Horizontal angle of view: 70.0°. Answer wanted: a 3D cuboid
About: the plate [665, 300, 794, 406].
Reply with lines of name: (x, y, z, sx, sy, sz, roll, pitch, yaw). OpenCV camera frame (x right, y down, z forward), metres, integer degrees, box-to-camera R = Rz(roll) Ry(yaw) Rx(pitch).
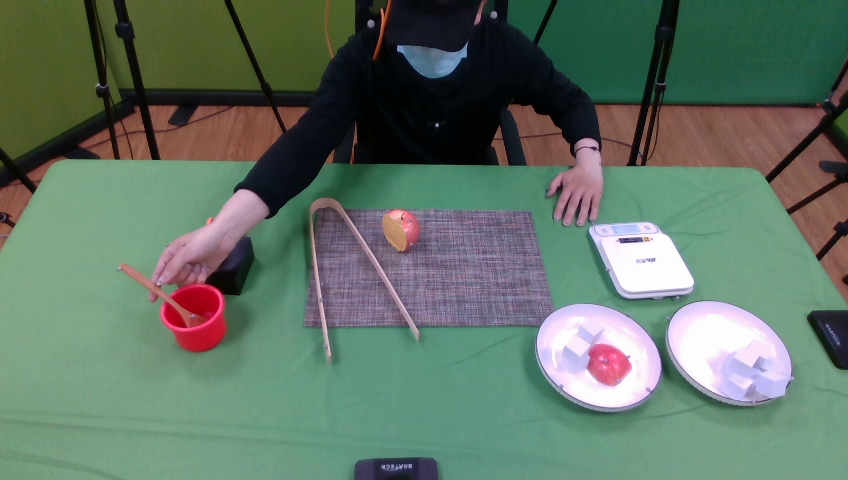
plate: (0.513, 0.194, 1.034, 0.208, 0.039, 0.206, 2, 46, -2)

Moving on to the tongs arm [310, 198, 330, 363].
tongs arm: (-0.180, 0.058, 1.117, 0.051, 0.026, 0.382, -9, 46, -11)

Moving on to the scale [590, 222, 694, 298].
scale: (0.424, 0.031, 1.189, 0.149, 0.032, 0.199, -3, 46, -7)

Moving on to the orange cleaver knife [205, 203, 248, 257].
orange cleaver knife: (-0.374, -0.024, 1.150, 0.012, 0.077, 0.210, 4, 15, 1)

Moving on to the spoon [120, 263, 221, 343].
spoon: (-0.411, 0.101, 0.985, 0.194, 0.021, 0.041, 47, 50, -21)

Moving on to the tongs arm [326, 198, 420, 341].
tongs arm: (-0.101, 0.042, 1.139, 0.028, 0.028, 0.385, -22, 51, -17)

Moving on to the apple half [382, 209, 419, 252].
apple half: (-0.039, -0.022, 1.175, 0.053, 0.075, 0.080, -27, 49, -31)

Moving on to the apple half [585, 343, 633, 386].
apple half: (0.309, 0.198, 1.008, 0.081, 0.033, 0.081, 4, 48, -4)

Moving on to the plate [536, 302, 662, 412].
plate: (0.288, 0.197, 1.016, 0.209, 0.038, 0.208, 2, 46, -2)
